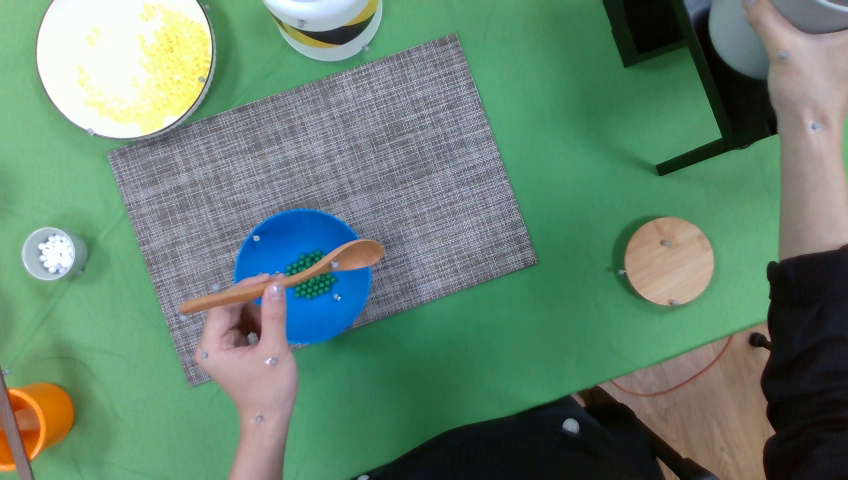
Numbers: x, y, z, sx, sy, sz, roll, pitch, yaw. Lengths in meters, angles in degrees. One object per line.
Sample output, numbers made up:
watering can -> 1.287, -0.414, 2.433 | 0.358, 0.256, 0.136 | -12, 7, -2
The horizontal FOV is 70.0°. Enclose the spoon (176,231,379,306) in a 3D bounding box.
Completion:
spoon -> -0.117, 0.025, 0.524 | 0.021, 0.194, 0.042 | 49, 134, 20

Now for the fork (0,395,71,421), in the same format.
fork -> -0.503, 0.196, 0.660 | 0.209, 0.018, 0.028 | 1, 92, -45

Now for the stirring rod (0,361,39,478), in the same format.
stirring rod -> -0.454, 0.175, 0.659 | 0.014, 0.006, 0.176 | -18, 91, 0

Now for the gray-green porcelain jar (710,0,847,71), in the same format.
gray-green porcelain jar -> 0.309, -0.209, 0.500 | 0.106, 0.127, 0.105 | 0, 80, -1

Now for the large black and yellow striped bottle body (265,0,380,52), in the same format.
large black and yellow striped bottle body -> -0.117, -0.294, 0.653 | 0.131, 0.184, 0.130 | 0, 89, -1

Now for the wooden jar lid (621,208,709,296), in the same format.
wooden jar lid -> 0.295, 0.015, 0.746 | 0.108, 0.020, 0.108 | 0, 91, -1

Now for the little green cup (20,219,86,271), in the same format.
little green cup -> -0.435, 0.006, 0.716 | 0.061, 0.038, 0.061 | 0, 91, -1

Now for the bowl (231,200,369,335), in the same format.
bowl -> -0.136, 0.031, 0.701 | 0.151, 0.077, 0.151 | 0, 90, -1

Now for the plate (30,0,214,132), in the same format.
plate -> -0.352, -0.229, 0.719 | 0.209, 0.038, 0.209 | 0, 90, -2
